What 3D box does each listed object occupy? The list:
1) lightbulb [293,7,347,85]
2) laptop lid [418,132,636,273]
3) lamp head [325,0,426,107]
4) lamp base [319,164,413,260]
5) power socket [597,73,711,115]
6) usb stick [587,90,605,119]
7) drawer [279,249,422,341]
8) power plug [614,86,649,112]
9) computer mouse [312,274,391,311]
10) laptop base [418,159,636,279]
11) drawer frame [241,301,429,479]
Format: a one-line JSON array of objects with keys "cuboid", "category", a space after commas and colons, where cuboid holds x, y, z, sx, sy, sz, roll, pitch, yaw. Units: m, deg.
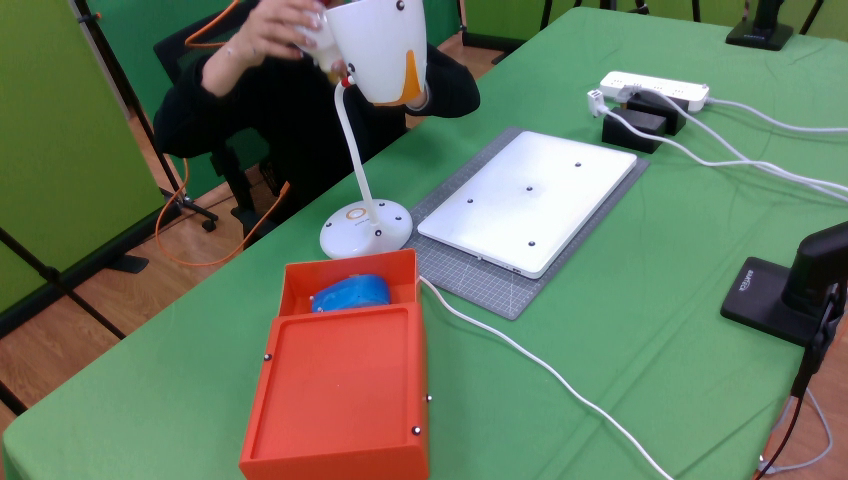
[{"cuboid": [-0.133, -0.257, 0.808, 0.059, 0.108, 0.059, -14, 40, 13], "category": "lightbulb"}, {"cuboid": [0.181, -0.084, 1.036, 0.239, 0.013, 0.358, 22, 49, 35], "category": "laptop lid"}, {"cuboid": [-0.049, -0.218, 0.708, 0.112, 0.123, 0.112, -9, 24, 5], "category": "lamp head"}, {"cuboid": [-0.102, -0.068, 0.962, 0.161, 0.181, 0.177, -30, 46, -20], "category": "lamp base"}, {"cuboid": [0.469, -0.304, 1.249, 0.225, 0.033, 0.072, 20, 49, 30], "category": "power socket"}, {"cuboid": [0.334, -0.258, 1.170, 0.021, 0.059, 0.027, -28, 44, -5], "category": "usb stick"}, {"cuboid": [-0.100, 0.114, 0.828, 0.194, 0.073, 0.210, -7, 40, 2], "category": "drawer"}, {"cuboid": [0.406, -0.275, 1.192, 0.035, 0.053, 0.072, -16, 24, -16], "category": "power plug"}, {"cuboid": [-0.107, 0.087, 0.884, 0.117, 0.041, 0.062, -14, 40, 0], "category": "computer mouse"}, {"cuboid": [0.185, -0.074, 1.042, 0.233, 0.023, 0.355, 19, 48, 35], "category": "laptop base"}, {"cuboid": [-0.096, 0.183, 0.741, 0.202, 0.083, 0.212, -6, 40, 3], "category": "drawer frame"}]
